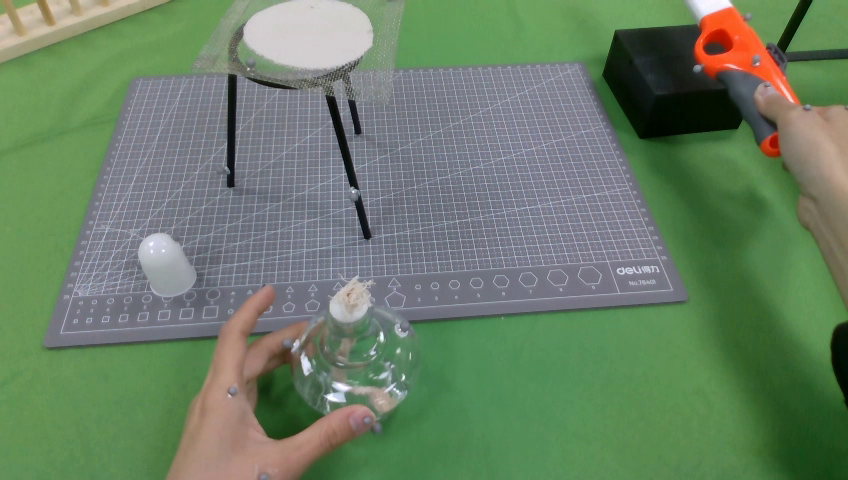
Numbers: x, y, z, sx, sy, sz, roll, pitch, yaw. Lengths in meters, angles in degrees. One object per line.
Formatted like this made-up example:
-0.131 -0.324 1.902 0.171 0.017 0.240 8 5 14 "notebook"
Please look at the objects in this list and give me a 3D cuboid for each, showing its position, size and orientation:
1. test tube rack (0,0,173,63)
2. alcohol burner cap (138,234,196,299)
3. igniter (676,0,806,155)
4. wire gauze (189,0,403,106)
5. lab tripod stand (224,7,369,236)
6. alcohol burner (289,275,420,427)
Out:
-0.387 -0.258 0.614 0.242 0.086 0.066 -35 60 -26 "test tube rack"
-0.182 0.015 0.424 0.034 0.048 0.033 2 50 -2 "alcohol burner cap"
0.248 -0.180 0.515 0.057 0.025 0.273 -17 56 11 "igniter"
-0.078 -0.138 0.406 0.125 0.011 0.120 7 51 1 "wire gauze"
-0.085 -0.089 0.454 0.148 0.132 0.147 2 51 -3 "lab tripod stand"
-0.041 0.060 0.351 0.078 0.120 0.077 0 51 0 "alcohol burner"
